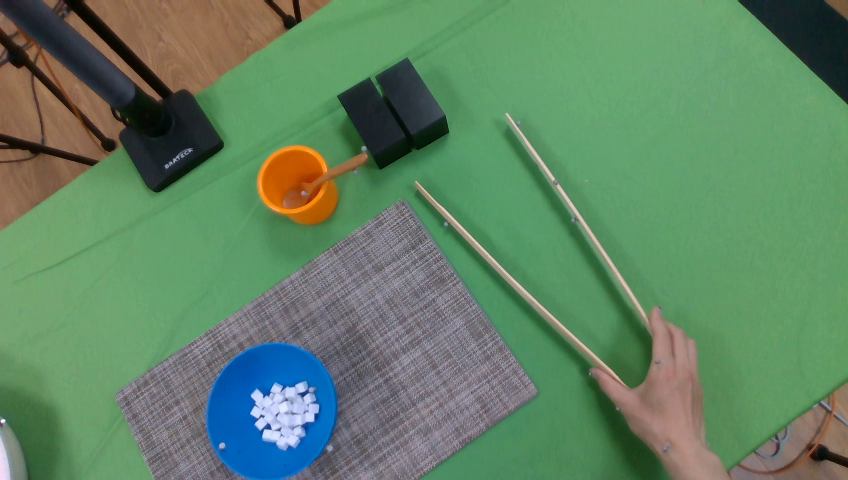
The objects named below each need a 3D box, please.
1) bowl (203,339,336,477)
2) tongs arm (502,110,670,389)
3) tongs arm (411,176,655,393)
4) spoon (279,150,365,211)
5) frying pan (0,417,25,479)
[{"bbox_3d":[-0.168,0.195,0.711,0.151,0.077,0.150,-2,75,7],"label":"bowl"},{"bbox_3d":[0.182,0.001,0.736,0.051,0.027,0.382,-32,73,-1],"label":"tongs arm"},{"bbox_3d":[0.117,0.048,0.735,0.028,0.028,0.385,-43,73,-8],"label":"tongs arm"},{"bbox_3d":[-0.129,-0.075,0.743,0.022,0.193,0.041,14,69,-33],"label":"spoon"},{"bbox_3d":[-0.550,0.385,0.702,0.484,0.103,0.306,40,84,24],"label":"frying pan"}]
